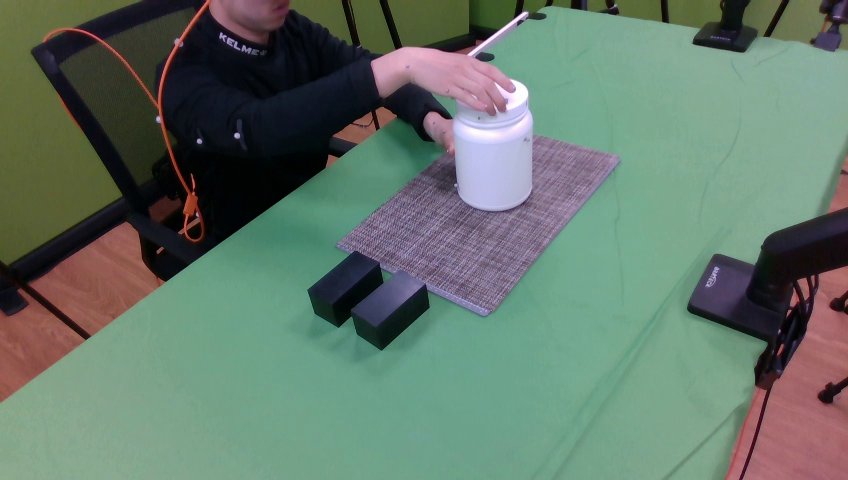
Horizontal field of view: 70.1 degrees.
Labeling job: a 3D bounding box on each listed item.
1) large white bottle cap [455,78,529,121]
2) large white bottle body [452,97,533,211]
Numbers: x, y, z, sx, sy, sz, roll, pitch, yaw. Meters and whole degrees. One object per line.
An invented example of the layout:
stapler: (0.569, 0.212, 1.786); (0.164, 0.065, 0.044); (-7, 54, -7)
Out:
large white bottle cap: (0.105, -0.221, 0.944); (0.115, 0.018, 0.114); (-4, 40, 4)
large white bottle body: (0.115, -0.155, 1.001); (0.130, 0.185, 0.130); (-4, 41, 4)
